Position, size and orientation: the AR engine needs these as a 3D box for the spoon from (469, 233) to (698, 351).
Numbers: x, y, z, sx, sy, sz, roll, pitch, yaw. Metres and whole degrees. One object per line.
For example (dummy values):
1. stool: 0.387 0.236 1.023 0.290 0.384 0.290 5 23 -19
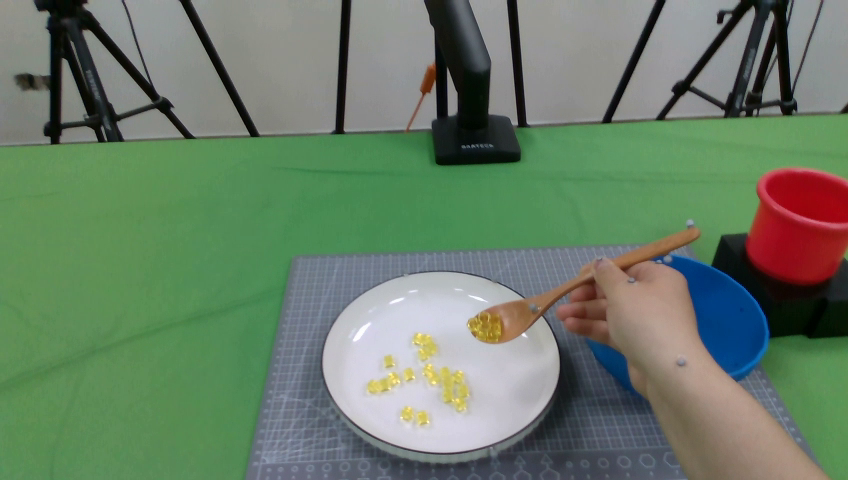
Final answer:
1. spoon: 0.123 0.041 0.481 0.193 0.022 0.041 -30 34 18

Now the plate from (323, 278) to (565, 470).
1. plate: 0.017 0.114 0.536 0.208 0.039 0.205 0 37 1

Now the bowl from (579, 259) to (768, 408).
1. bowl: 0.205 0.092 0.527 0.151 0.077 0.150 0 38 1
